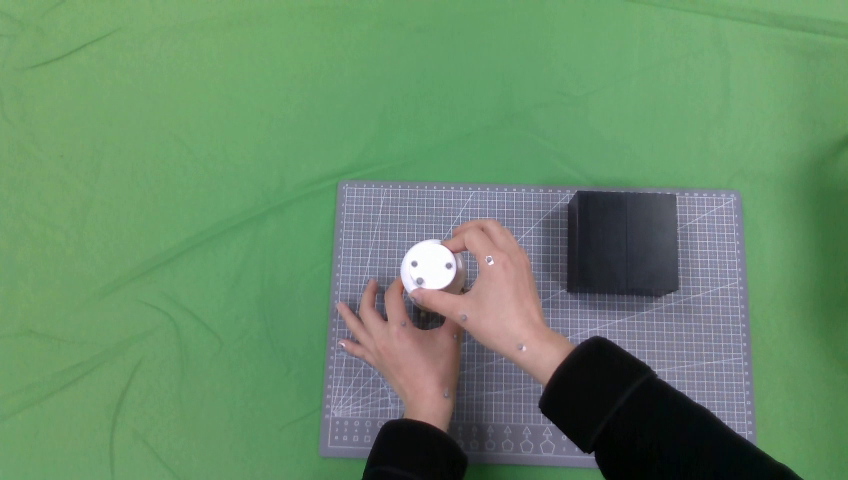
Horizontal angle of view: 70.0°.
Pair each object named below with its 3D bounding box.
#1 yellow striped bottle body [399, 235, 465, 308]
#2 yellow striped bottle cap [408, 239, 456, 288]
[{"bbox_3d":[0.008,0.032,0.602,0.063,0.121,0.062,0,79,2],"label":"yellow striped bottle body"},{"bbox_3d":[0.007,0.021,0.552,0.044,0.019,0.044,0,81,2],"label":"yellow striped bottle cap"}]
